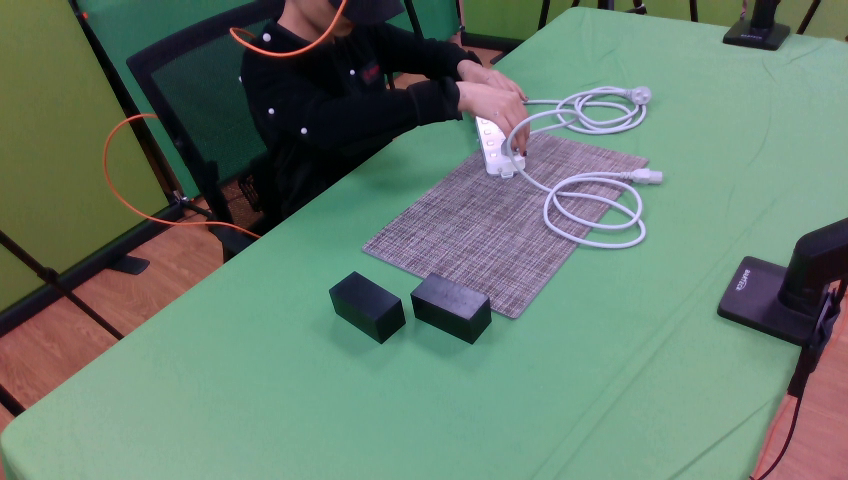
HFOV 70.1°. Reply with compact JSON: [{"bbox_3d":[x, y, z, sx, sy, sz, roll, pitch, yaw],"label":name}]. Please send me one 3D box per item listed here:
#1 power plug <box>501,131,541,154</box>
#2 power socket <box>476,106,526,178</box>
[{"bbox_3d":[0.176,-0.169,1.101,0.072,0.053,0.035,0,39,11],"label":"power plug"},{"bbox_3d":[0.146,-0.196,1.173,0.072,0.033,0.225,-7,40,2],"label":"power socket"}]
